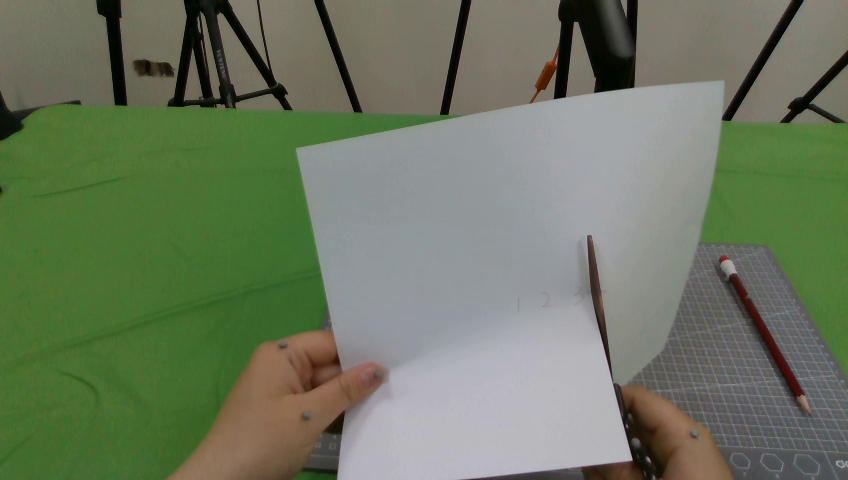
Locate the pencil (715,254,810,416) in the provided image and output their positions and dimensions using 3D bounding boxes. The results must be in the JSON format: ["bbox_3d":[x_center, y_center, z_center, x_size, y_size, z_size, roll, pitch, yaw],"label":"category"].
[{"bbox_3d":[0.300,0.077,0.545,0.012,0.012,0.192,0,39,1],"label":"pencil"}]

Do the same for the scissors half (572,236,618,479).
[{"bbox_3d":[0.103,0.083,0.363,0.013,0.175,0.040,-11,9,-8],"label":"scissors half"}]

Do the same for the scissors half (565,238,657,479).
[{"bbox_3d":[0.104,0.080,0.341,0.013,0.040,0.174,-12,71,-3],"label":"scissors half"}]
